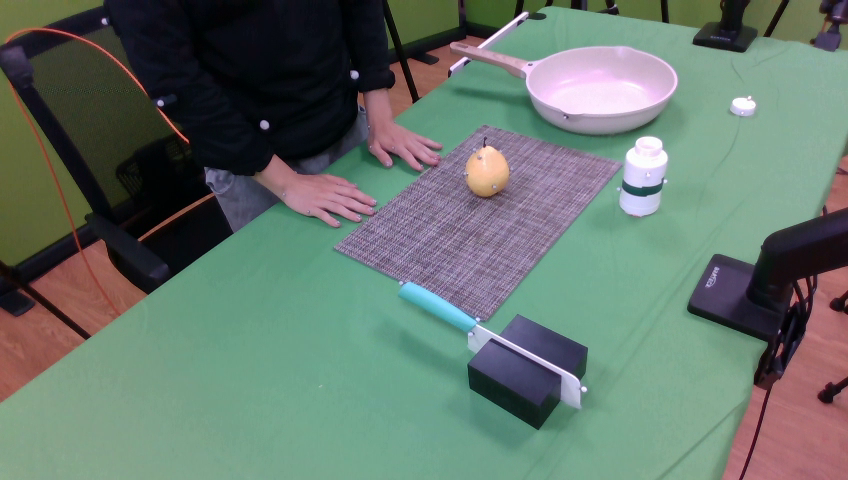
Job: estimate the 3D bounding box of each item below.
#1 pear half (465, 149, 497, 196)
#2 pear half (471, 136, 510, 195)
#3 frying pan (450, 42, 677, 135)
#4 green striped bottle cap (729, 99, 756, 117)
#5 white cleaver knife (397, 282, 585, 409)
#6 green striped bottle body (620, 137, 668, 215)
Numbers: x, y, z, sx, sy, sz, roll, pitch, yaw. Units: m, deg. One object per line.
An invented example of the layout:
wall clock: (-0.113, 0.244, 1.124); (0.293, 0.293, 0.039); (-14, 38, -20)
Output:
pear half: (0.091, -0.110, 1.025); (0.070, 0.088, 0.031); (30, 52, 30)
pear half: (0.115, -0.136, 1.036); (0.076, 0.110, 0.056); (30, 53, 30)
frying pan: (0.268, -0.344, 1.267); (0.485, 0.103, 0.307); (26, 49, 21)
green striped bottle cap: (0.623, -0.259, 1.182); (0.044, 0.020, 0.044); (-3, 40, 3)
white cleaver knife: (0.074, 0.131, 0.770); (0.284, 0.066, 0.021); (27, 45, 31)
green striped bottle body: (0.350, -0.103, 0.963); (0.063, 0.120, 0.063); (-4, 41, 4)
